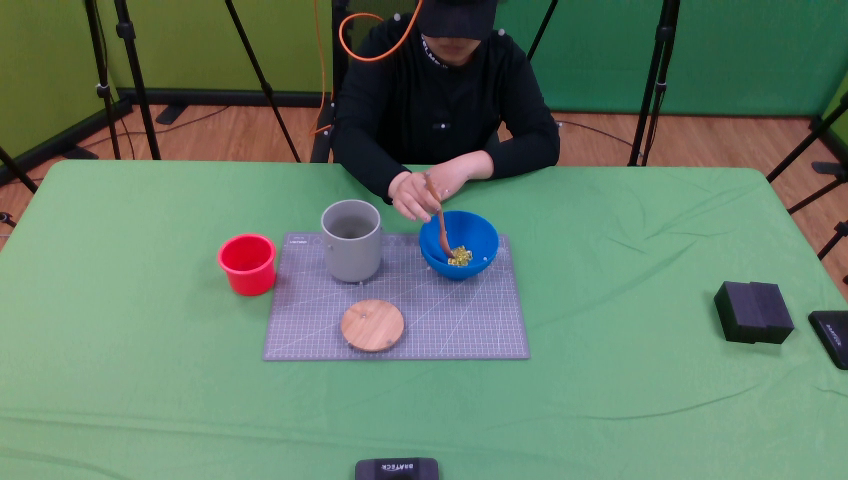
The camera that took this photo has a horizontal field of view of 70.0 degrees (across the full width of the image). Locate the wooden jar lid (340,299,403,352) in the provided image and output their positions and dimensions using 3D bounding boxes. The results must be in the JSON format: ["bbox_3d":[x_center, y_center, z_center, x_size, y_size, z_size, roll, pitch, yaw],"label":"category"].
[{"bbox_3d":[-0.090,0.150,1.046,0.108,0.021,0.107,3,47,-3],"label":"wooden jar lid"}]

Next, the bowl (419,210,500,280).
[{"bbox_3d":[0.062,0.022,1.140,0.151,0.077,0.150,2,46,-2],"label":"bowl"}]

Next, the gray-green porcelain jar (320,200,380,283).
[{"bbox_3d":[-0.132,0.007,1.106,0.106,0.127,0.105,2,46,-2],"label":"gray-green porcelain jar"}]

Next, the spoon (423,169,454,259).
[{"bbox_3d":[0.026,-0.043,1.080,0.021,0.195,0.041,-22,33,-14],"label":"spoon"}]
